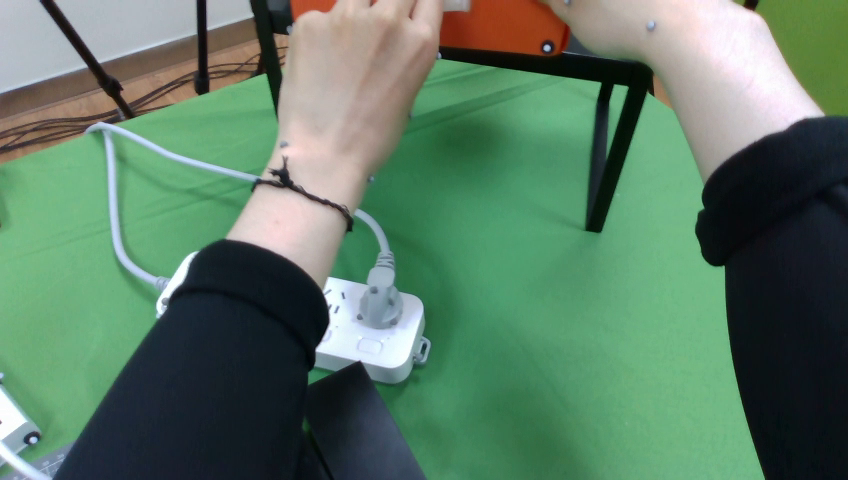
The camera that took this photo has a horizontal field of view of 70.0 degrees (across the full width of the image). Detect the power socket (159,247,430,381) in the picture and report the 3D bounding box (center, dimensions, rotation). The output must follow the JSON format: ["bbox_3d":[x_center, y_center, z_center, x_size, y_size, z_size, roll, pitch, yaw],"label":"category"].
[{"bbox_3d":[-0.106,0.058,0.494,0.226,0.033,0.071,12,50,9],"label":"power socket"}]

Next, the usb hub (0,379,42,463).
[{"bbox_3d":[-0.341,0.115,0.446,0.124,0.025,0.049,33,58,24],"label":"usb hub"}]

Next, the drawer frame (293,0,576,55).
[{"bbox_3d":[0.018,-0.246,0.483,0.201,0.083,0.211,6,50,4],"label":"drawer frame"}]

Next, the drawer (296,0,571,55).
[{"bbox_3d":[0.019,-0.242,0.481,0.194,0.074,0.210,7,50,5],"label":"drawer"}]

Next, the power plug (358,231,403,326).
[{"bbox_3d":[-0.026,0.037,0.485,0.035,0.053,0.072,20,54,16],"label":"power plug"}]
